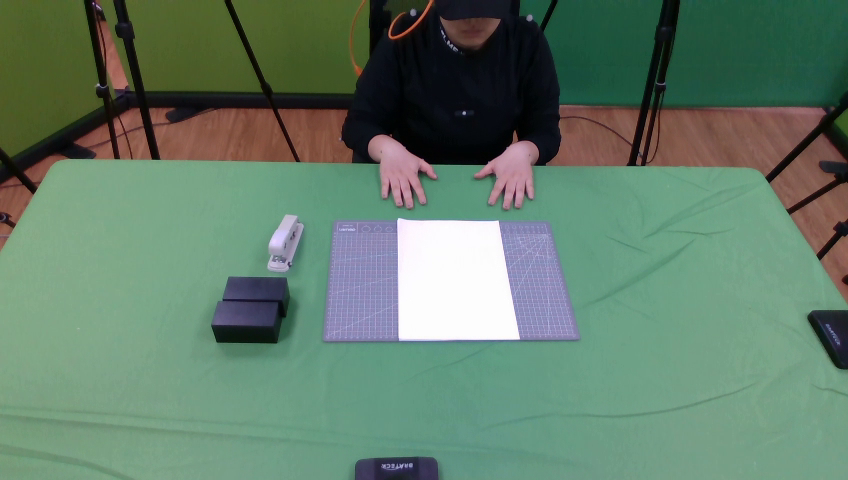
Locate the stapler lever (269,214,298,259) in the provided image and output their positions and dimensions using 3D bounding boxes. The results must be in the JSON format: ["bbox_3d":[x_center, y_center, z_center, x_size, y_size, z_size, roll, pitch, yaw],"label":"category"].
[{"bbox_3d":[-0.268,-0.014,1.154,0.027,0.040,0.117,7,44,1],"label":"stapler lever"}]

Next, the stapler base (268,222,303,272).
[{"bbox_3d":[-0.268,0.005,1.171,0.041,0.024,0.130,7,44,0],"label":"stapler base"}]
